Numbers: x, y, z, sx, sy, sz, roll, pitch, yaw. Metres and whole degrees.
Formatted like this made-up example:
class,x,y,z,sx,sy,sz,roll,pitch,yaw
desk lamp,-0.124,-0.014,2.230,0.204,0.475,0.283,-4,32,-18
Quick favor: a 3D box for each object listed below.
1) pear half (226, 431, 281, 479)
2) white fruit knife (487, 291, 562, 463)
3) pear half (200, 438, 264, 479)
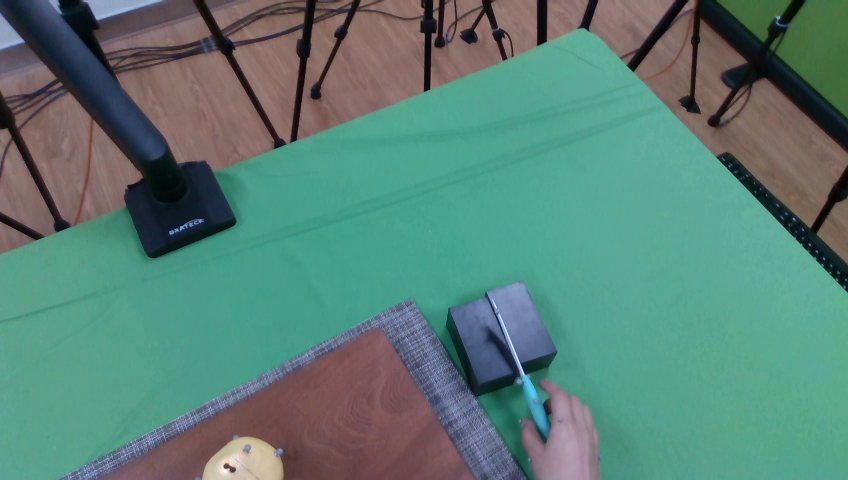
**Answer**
class,x,y,z,sx,sy,sz,roll,pitch,yaw
pear half,-0.166,0.213,0.607,0.070,0.089,0.031,31,63,20
white fruit knife,0.110,0.154,0.685,0.016,0.027,0.207,-22,85,-7
pear half,-0.188,0.231,0.584,0.076,0.111,0.056,32,64,19
